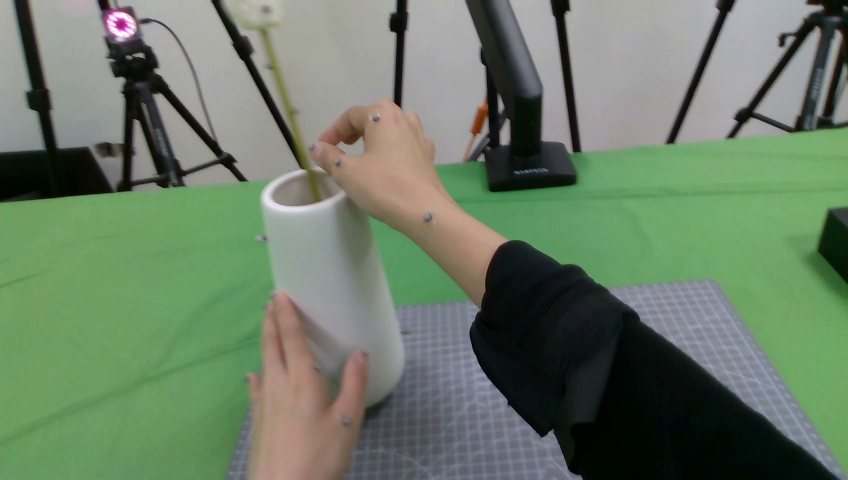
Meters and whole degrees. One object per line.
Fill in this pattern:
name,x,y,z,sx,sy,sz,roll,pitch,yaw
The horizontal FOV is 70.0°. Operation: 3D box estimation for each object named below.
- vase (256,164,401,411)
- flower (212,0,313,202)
vase,-0.075,0.042,0.488,0.098,0.202,0.097,-4,32,3
flower,-0.086,-0.036,0.456,0.044,0.364,0.038,-23,20,-23
